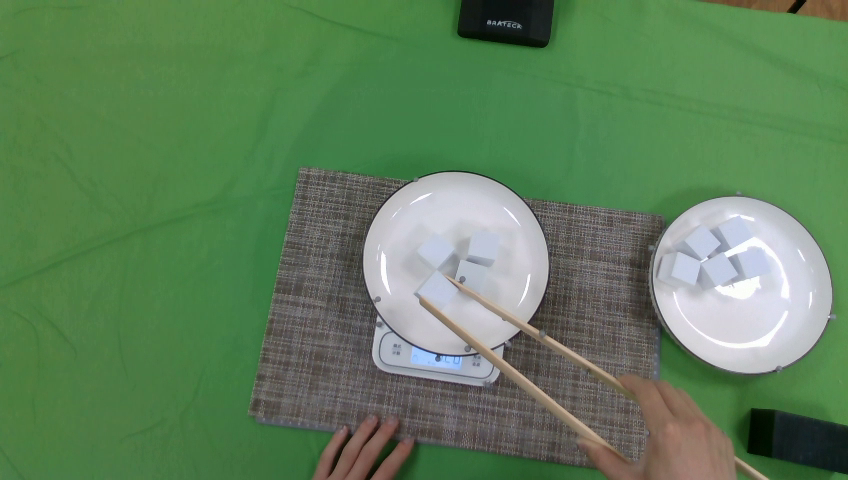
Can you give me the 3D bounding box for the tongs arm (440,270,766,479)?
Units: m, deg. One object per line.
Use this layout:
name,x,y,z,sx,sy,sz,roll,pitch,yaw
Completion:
tongs arm,0.161,0.142,0.546,0.382,0.027,0.050,30,69,19

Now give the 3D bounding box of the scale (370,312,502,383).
scale,0.024,0.056,0.701,0.148,0.031,0.200,9,78,1

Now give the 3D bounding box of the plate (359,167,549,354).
plate,0.033,0.022,0.675,0.209,0.038,0.208,0,78,-1

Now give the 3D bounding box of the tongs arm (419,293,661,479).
tongs arm,0.146,0.159,0.539,0.385,0.028,0.028,35,67,21

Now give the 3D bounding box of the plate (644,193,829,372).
plate,0.357,0.049,0.706,0.208,0.039,0.206,0,78,0
